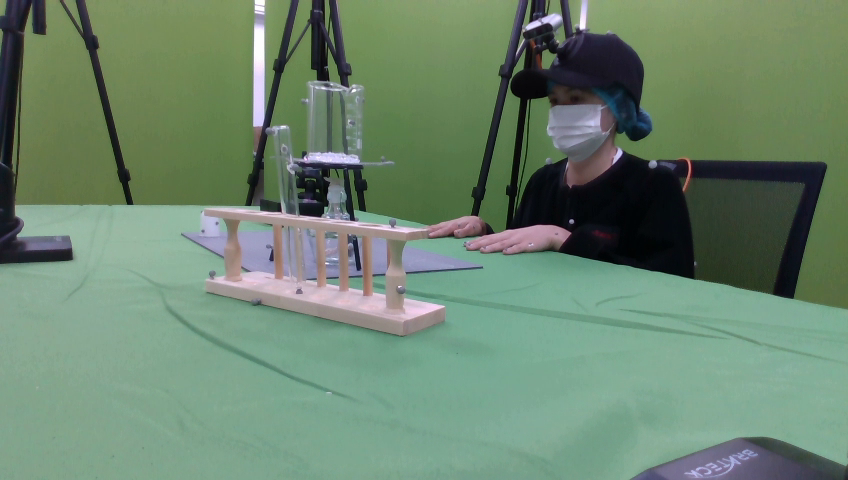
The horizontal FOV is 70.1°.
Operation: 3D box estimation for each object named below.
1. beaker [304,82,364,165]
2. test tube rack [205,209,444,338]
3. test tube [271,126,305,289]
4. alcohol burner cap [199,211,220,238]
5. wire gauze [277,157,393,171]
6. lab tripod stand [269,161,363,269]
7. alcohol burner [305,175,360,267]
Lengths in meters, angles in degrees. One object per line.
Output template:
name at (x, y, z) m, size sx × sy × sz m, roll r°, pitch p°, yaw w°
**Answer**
beaker at (-0.115, -0.148, 0.779) m, size 0.074 × 0.100 × 0.083 m, roll -2°, pitch 10°, yaw -30°
test tube rack at (-0.100, 0.021, 0.565) m, size 0.241 × 0.085 × 0.067 m, roll 7°, pitch 9°, yaw 32°
test tube at (-0.124, -0.028, 0.554) m, size 0.017 × 0.150 × 0.017 m, roll -5°, pitch 7°, yaw 1°
alcohol burner cap at (-0.356, -0.027, 1.002) m, size 0.034 × 0.048 × 0.034 m, roll 3°, pitch 7°, yaw 0°
wire gauze at (-0.122, -0.100, 0.786) m, size 0.122 × 0.011 × 0.124 m, roll -5°, pitch 14°, yaw -38°
lab tripod stand at (-0.125, -0.036, 0.794) m, size 0.148 × 0.131 × 0.148 m, roll 5°, pitch 7°, yaw 0°
alcohol burner at (-0.117, -0.025, 0.792) m, size 0.078 × 0.119 × 0.078 m, roll 1°, pitch 8°, yaw 0°
